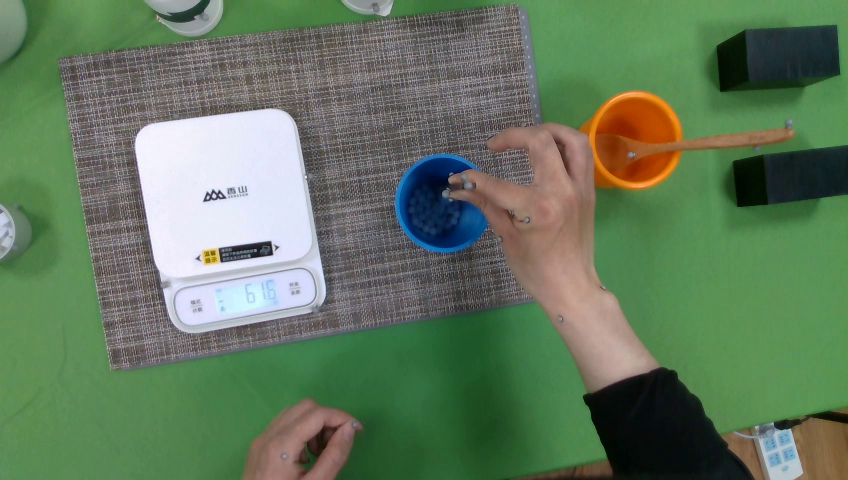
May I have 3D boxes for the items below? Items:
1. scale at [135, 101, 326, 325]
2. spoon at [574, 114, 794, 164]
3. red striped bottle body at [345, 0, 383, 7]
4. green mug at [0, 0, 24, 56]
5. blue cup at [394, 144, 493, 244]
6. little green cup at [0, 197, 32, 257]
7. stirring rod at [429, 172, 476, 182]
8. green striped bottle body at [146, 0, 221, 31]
[{"bbox_3d":[-0.182,-0.025,0.579,0.149,0.031,0.201,-10,93,-6],"label":"scale"},{"bbox_3d":[0.234,-0.098,0.567,0.022,0.192,0.042,-16,102,-49],"label":"spoon"},{"bbox_3d":[-0.054,-0.261,0.545,0.063,0.119,0.063,0,91,-6],"label":"red striped bottle body"},{"bbox_3d":[-0.419,-0.192,0.515,0.093,0.105,0.125,26,89,-6],"label":"green mug"},{"bbox_3d":[0.013,-0.041,0.565,0.093,0.100,0.092,0,93,-5],"label":"blue cup"},{"bbox_3d":[-0.397,-0.012,0.556,0.062,0.038,0.061,0,92,-7],"label":"little green cup"},{"bbox_3d":[0.021,-0.053,0.511,0.014,0.175,0.006,-10,97,-5],"label":"stirring rod"},{"bbox_3d":[-0.222,-0.232,0.527,0.063,0.119,0.063,0,91,-6],"label":"green striped bottle body"}]
